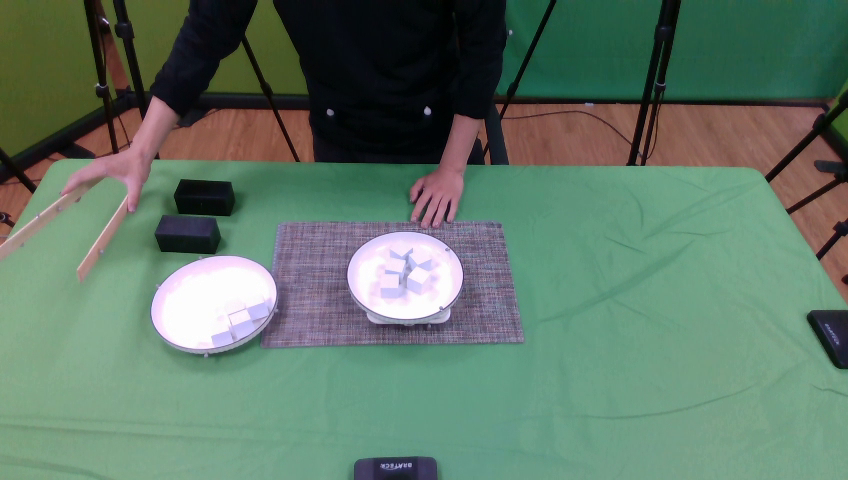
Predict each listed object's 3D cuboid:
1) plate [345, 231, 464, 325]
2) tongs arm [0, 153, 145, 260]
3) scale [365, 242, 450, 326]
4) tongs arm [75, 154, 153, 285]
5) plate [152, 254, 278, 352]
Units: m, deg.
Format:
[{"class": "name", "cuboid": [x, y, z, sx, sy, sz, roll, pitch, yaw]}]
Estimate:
[{"class": "plate", "cuboid": [-0.034, 0.069, 1.069, 0.209, 0.038, 0.208, 2, 46, -2]}, {"class": "tongs arm", "cuboid": [-0.616, -0.065, 1.075, 0.051, 0.026, 0.383, 12, 34, 1]}, {"class": "scale", "cuboid": [-0.032, 0.071, 1.113, 0.149, 0.032, 0.199, 0, 46, -4]}, {"class": "tongs arm", "cuboid": [-0.543, -0.051, 1.080, 0.028, 0.028, 0.385, 3, 35, -6]}, {"class": "plate", "cuboid": [-0.357, 0.111, 1.052, 0.208, 0.039, 0.206, 2, 46, -2]}]
